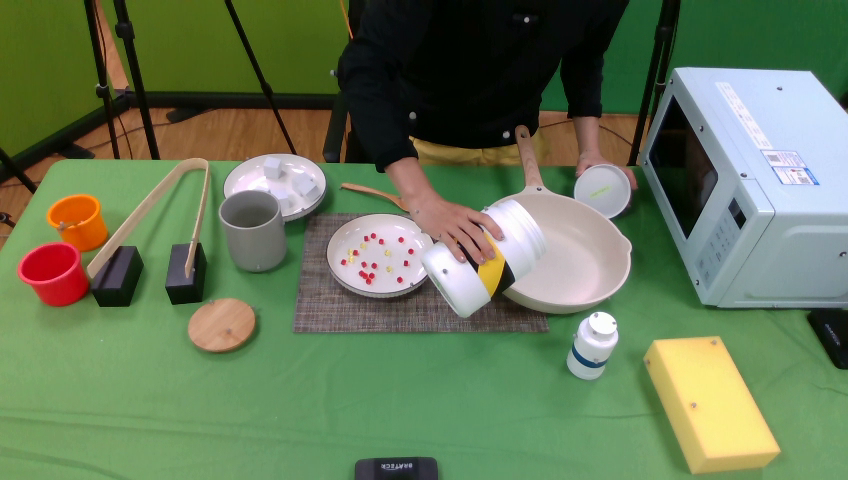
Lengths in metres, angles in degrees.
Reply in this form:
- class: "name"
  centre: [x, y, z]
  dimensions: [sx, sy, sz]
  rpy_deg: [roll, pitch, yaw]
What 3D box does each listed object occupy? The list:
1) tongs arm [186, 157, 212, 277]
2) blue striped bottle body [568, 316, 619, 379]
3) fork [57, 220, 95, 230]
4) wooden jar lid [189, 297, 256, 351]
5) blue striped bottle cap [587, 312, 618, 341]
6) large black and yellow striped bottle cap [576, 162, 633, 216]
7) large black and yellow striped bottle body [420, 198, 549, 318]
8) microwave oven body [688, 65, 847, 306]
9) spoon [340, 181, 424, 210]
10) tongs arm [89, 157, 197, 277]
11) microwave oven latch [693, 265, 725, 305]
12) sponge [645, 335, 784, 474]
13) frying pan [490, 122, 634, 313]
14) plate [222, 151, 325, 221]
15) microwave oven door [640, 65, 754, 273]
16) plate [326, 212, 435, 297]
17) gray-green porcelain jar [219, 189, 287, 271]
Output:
- class: "tongs arm"
  centre: [-0.445, -0.058, 1.168]
  dimensions: [0.051, 0.026, 0.382]
  rpy_deg: [-4, 37, -6]
- class: "blue striped bottle body"
  centre: [0.277, 0.169, 0.984]
  dimensions: [0.063, 0.121, 0.062]
  rpy_deg: [2, 46, -2]
- class: "fork"
  centre: [-0.624, -0.027, 1.087]
  dimensions: [0.028, 0.207, 0.018]
  rpy_deg: [-3, 92, -17]
- class: "wooden jar lid"
  centre: [-0.342, 0.145, 1.033]
  dimensions: [0.108, 0.021, 0.107]
  rpy_deg: [3, 45, -2]
- class: "blue striped bottle cap"
  centre: [0.279, 0.134, 0.946]
  dimensions: [0.044, 0.021, 0.044]
  rpy_deg: [2, 45, -2]
- class: "large black and yellow striped bottle cap"
  centre: [0.374, -0.106, 1.259]
  dimensions: [0.115, 0.115, 0.019]
  rpy_deg: [2, 9, -2]
- class: "large black and yellow striped bottle body"
  centre: [0.101, 0.026, 0.998]
  dimensions: [0.184, 0.131, 0.130]
  rpy_deg: [-35, 55, -5]
- class: "microwave oven body"
  centre: [0.669, -0.111, 1.176]
  dimensions: [0.326, 0.261, 0.439]
  rpy_deg: [0, 46, -3]
- class: "spoon"
  centre: [-0.090, -0.100, 1.282]
  dimensions: [0.193, 0.022, 0.041]
  rpy_deg: [18, 64, 13]
- class: "tongs arm"
  centre: [-0.529, -0.058, 1.163]
  dimensions: [0.028, 0.028, 0.385]
  rpy_deg: [1, 36, 7]
- class: "microwave oven latch"
  centre: [0.523, 0.082, 1.116]
  dimensions: [0.030, 0.029, 0.078]
  rpy_deg: [2, 46, -1]
- class: "sponge"
  centre: [0.449, 0.253, 0.956]
  dimensions: [0.118, 0.061, 0.205]
  rpy_deg: [-4, 46, -7]
- class: "frying pan"
  centre: [0.235, -0.061, 1.207]
  dimensions: [0.307, 0.103, 0.484]
  rpy_deg: [2, 55, -6]
- class: "plate"
  centre: [-0.310, -0.106, 1.262]
  dimensions: [0.208, 0.039, 0.206]
  rpy_deg: [2, 47, -2]
- class: "microwave oven door"
  centre: [0.523, -0.147, 1.193]
  dimensions: [0.039, 0.245, 0.353]
  rpy_deg: [0, 47, -3]
- class: "plate"
  centre: [-0.080, 0.030, 1.143]
  dimensions: [0.209, 0.038, 0.208]
  rpy_deg: [2, 46, -2]
- class: "gray-green porcelain jar"
  centre: [-0.310, -0.014, 1.113]
  dimensions: [0.106, 0.127, 0.105]
  rpy_deg: [2, 46, -2]
